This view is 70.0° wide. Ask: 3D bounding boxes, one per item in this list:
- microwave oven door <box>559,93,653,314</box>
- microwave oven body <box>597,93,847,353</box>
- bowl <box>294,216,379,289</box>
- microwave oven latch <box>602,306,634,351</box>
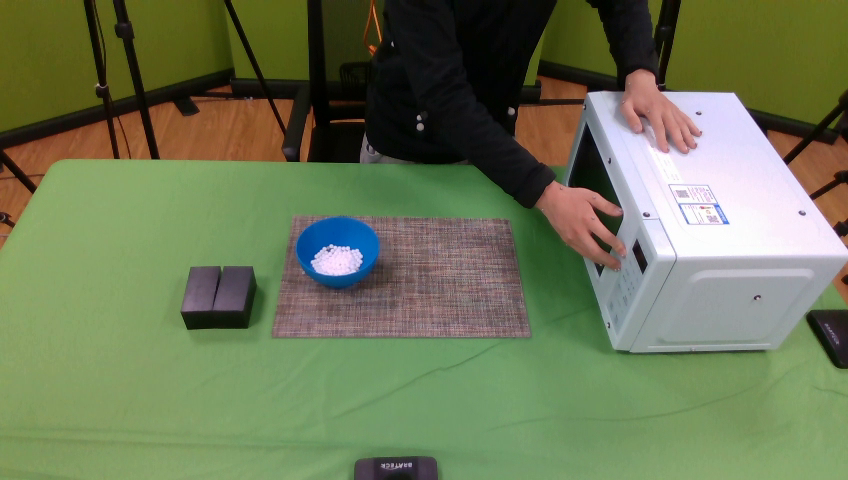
[{"bbox_3d":[0.327,-0.074,1.123,0.039,0.245,0.353,-1,46,-5],"label":"microwave oven door"},{"bbox_3d":[0.475,-0.041,1.109,0.326,0.261,0.438,-1,45,-4],"label":"microwave oven body"},{"bbox_3d":[-0.158,0.036,1.110,0.151,0.077,0.150,3,45,-2],"label":"bowl"},{"bbox_3d":[0.332,0.153,1.044,0.030,0.029,0.078,0,45,-4],"label":"microwave oven latch"}]
